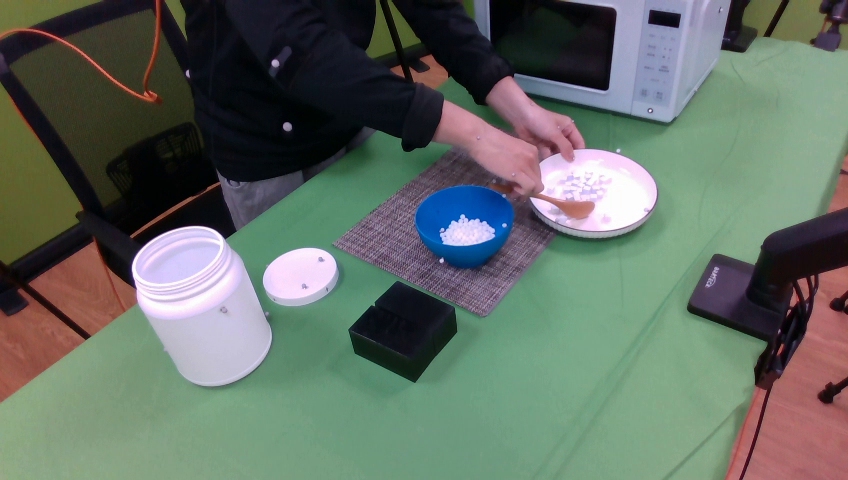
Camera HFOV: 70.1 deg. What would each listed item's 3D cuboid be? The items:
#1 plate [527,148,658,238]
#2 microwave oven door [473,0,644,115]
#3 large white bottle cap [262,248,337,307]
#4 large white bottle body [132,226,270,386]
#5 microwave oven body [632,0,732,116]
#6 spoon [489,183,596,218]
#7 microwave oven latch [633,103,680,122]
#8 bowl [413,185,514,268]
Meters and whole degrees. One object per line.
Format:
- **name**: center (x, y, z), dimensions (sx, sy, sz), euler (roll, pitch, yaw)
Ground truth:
- **plate**: center (0.272, -0.074, 0.993), dimensions (0.209, 0.038, 0.208), euler (-2, 46, 3)
- **microwave oven door**: center (0.257, -0.396, 1.199), dimensions (0.353, 0.245, 0.039), euler (21, 48, 29)
- **large white bottle cap**: center (-0.193, 0.056, 0.933), dimensions (0.115, 0.018, 0.114), euler (-5, 41, 5)
- **large white bottle body**: center (-0.286, 0.085, 0.784), dimensions (0.130, 0.185, 0.130), euler (-4, 41, 4)
- **microwave oven body**: center (0.377, -0.462, 1.267), dimensions (0.438, 0.261, 0.327), euler (21, 49, 30)
- **spoon**: center (0.183, -0.063, 0.928), dimensions (0.195, 0.041, 0.021), euler (13, 50, -20)
- **microwave oven latch**: center (0.444, -0.249, 1.157), dimensions (0.078, 0.029, 0.030), euler (21, 49, 30)
- **bowl**: center (0.063, -0.010, 0.922), dimensions (0.151, 0.077, 0.150), euler (-4, 40, 4)
